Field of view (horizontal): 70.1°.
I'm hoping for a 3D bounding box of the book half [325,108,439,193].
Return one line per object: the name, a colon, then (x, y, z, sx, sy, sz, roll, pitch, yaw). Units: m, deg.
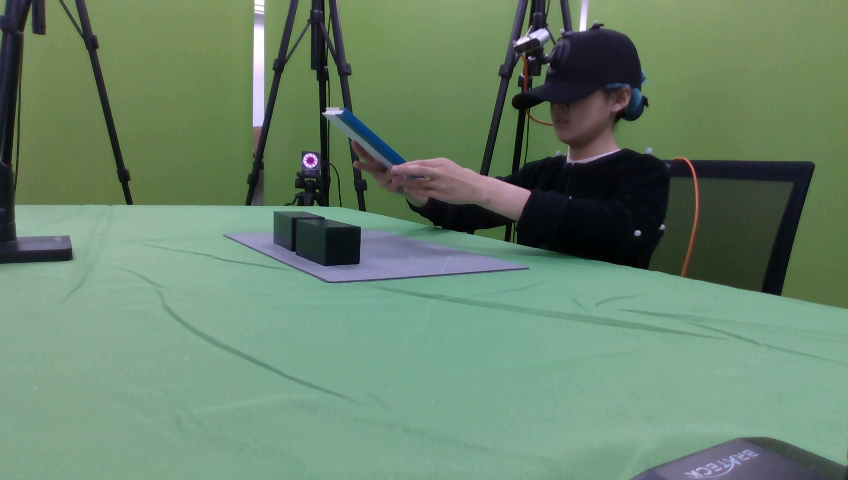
book half: (-0.073, -0.153, 1.030, 0.211, 0.007, 0.142, 39, -3, -24)
